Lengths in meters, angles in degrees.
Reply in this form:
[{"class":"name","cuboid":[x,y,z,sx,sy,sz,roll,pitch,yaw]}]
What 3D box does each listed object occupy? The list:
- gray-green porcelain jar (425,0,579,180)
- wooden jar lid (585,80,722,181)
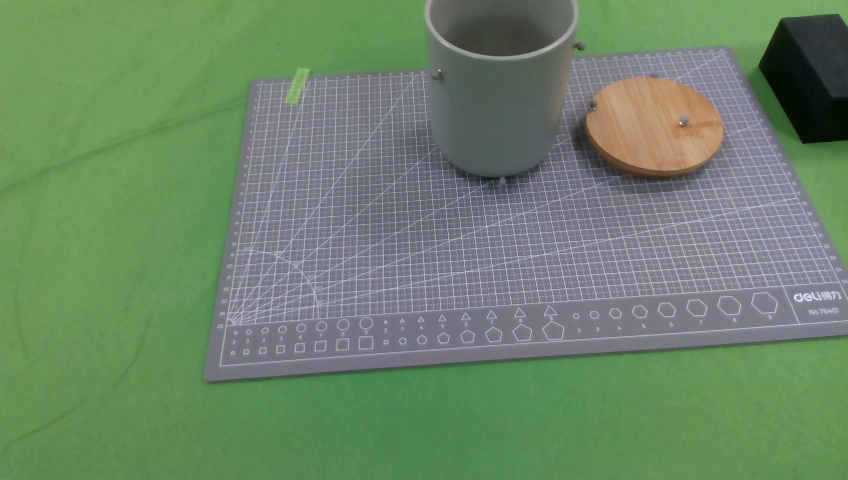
[{"class":"gray-green porcelain jar","cuboid":[0.055,-0.117,0.462,0.106,0.127,0.105,-1,55,2]},{"class":"wooden jar lid","cuboid":[0.187,-0.089,0.501,0.108,0.021,0.107,-2,54,3]}]
